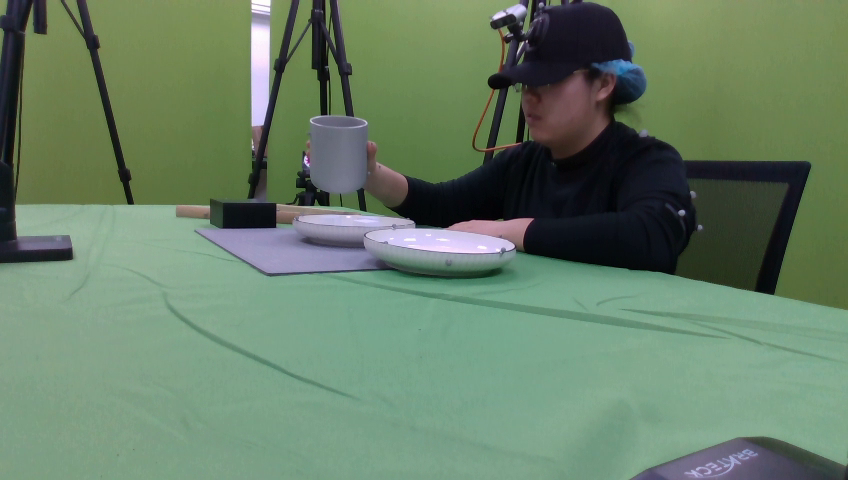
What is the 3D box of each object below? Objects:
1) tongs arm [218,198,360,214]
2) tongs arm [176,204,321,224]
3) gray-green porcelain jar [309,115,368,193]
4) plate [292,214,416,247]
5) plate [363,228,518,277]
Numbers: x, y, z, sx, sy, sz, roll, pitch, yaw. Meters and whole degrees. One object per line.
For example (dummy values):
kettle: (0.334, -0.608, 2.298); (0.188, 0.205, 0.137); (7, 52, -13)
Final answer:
tongs arm: (-0.313, -0.064, 1.353); (0.384, 0.026, 0.051); (6, 8, 17)
tongs arm: (-0.333, -0.052, 1.273); (0.387, 0.028, 0.028); (4, 4, 4)
gray-green porcelain jar: (-0.157, -0.157, 1.111); (0.106, 0.126, 0.105); (4, 23, -1)
plate: (-0.118, -0.017, 1.024); (0.208, 0.039, 0.207); (3, 7, 0)
plate: (0.021, 0.016, 0.817); (0.209, 0.038, 0.209); (4, 9, 0)
